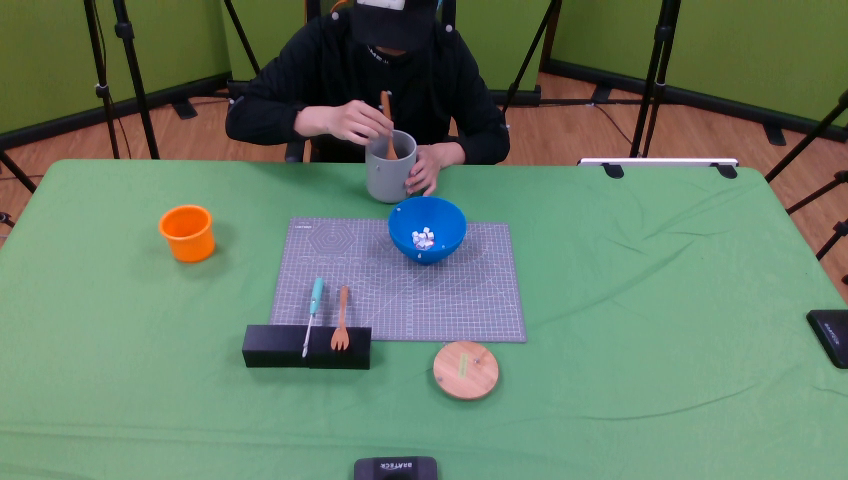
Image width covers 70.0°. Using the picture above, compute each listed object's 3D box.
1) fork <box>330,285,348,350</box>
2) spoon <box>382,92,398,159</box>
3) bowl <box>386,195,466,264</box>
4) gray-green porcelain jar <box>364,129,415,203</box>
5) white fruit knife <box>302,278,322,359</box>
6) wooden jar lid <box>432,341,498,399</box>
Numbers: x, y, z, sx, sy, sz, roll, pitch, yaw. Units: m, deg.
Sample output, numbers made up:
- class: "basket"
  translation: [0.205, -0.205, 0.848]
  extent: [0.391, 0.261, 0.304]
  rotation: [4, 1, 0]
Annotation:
- class: "fork"
  translation: [-0.140, 0.127, 1.021]
  extent: [0.028, 0.019, 0.206]
  rotation: [-5, 28, -2]
- class: "spoon"
  translation: [-0.069, -0.202, 1.194]
  extent: [0.041, 0.194, 0.021]
  rotation: [3, 36, 11]
- class: "bowl"
  translation: [0.003, -0.007, 1.162]
  extent: [0.151, 0.077, 0.150]
  rotation: [2, 46, -2]
- class: "gray-green porcelain jar"
  translation: [-0.073, -0.149, 1.264]
  extent: [0.106, 0.127, 0.105]
  rotation: [2, 46, -2]
- class: "white fruit knife"
  translation: [-0.189, 0.126, 1.020]
  extent: [0.016, 0.027, 0.206]
  rotation: [0, 33, -2]
- class: "wooden jar lid"
  translation: [0.067, 0.216, 0.997]
  extent: [0.108, 0.021, 0.107]
  rotation: [1, 46, -1]
